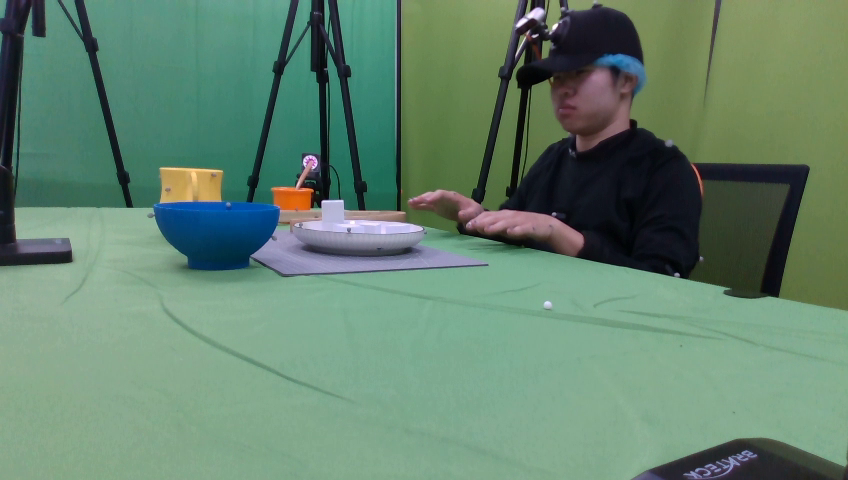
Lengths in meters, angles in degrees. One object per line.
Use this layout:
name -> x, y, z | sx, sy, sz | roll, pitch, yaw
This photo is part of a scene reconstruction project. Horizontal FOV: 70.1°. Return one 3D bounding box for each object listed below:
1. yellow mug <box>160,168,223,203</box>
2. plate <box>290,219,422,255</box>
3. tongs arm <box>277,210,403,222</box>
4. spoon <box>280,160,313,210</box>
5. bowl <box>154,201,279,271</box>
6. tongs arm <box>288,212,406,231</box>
yellow mug -> -0.387, -0.086, 1.016 | 0.100, 0.064, 0.130 | -1, 9, -25
plate -> -0.108, -0.005, 0.963 | 0.208, 0.039, 0.207 | 3, 7, 0
tongs arm -> -0.206, -0.052, 1.332 | 0.387, 0.026, 0.050 | -2, 7, -44
spoon -> -0.286, -0.118, 1.372 | 0.041, 0.193, 0.022 | 3, -37, 18
bowl -> -0.263, -0.005, 0.773 | 0.151, 0.077, 0.151 | 3, 8, 0
tongs arm -> -0.146, -0.041, 1.280 | 0.028, 0.028, 0.389 | 2, 5, 33
